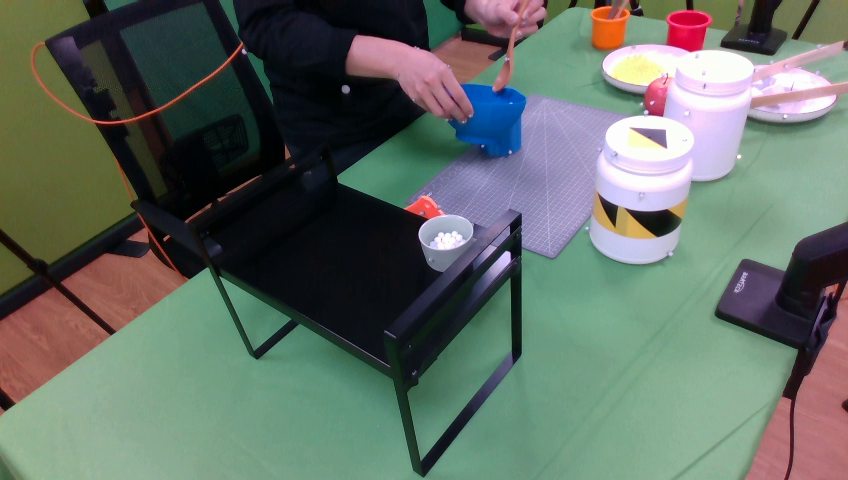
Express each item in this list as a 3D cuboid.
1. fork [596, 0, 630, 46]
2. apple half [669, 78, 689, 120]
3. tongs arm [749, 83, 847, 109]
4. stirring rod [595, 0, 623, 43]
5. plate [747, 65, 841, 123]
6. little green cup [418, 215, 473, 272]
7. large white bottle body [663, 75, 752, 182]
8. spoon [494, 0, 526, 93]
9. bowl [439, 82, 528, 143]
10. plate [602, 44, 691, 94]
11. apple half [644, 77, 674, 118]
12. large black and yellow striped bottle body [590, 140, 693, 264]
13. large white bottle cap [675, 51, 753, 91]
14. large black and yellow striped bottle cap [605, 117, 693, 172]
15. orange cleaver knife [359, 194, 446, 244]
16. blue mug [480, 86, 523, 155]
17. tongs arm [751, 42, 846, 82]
[{"bbox_3d":[0.481,-0.556,1.452,0.028,0.019,0.207,40,103,40],"label":"fork"},{"bbox_3d":[0.498,-0.273,1.180,0.032,0.082,0.081,7,42,25],"label":"apple half"},{"bbox_3d":[0.734,-0.280,1.133,0.388,0.028,0.028,-9,47,-5],"label":"tongs arm"},{"bbox_3d":[0.460,-0.556,1.460,0.014,0.006,0.176,30,93,23],"label":"stirring rod"},{"bbox_3d":[0.694,-0.282,1.189,0.207,0.039,0.206,-4,40,4],"label":"plate"},{"bbox_3d":[0.026,0.005,0.678,0.061,0.039,0.061,-4,40,4],"label":"little green cup"},{"bbox_3d":[0.472,-0.207,1.022,0.130,0.185,0.130,-4,41,4],"label":"large white bottle body"},{"bbox_3d":[0.152,-0.346,1.027,0.022,0.194,0.041,5,19,-19],"label":"spoon"},{"bbox_3d":[0.095,-0.213,1.026,0.151,0.077,0.151,5,26,-2],"label":"bowl"},{"bbox_3d":[0.494,-0.367,1.317,0.209,0.038,0.208,-4,40,4],"label":"plate"},{"bbox_3d":[0.463,-0.279,1.194,0.053,0.075,0.081,8,46,24],"label":"apple half"},{"bbox_3d":[0.317,-0.071,0.889,0.131,0.185,0.130,-4,41,4],"label":"large black and yellow striped bottle body"},{"bbox_3d":[0.463,-0.271,0.967,0.115,0.018,0.114,-3,40,3],"label":"large white bottle cap"},{"bbox_3d":[0.309,-0.134,0.833,0.115,0.019,0.114,-5,40,5],"label":"large black and yellow striped bottle cap"},{"bbox_3d":[-0.032,-0.026,0.965,0.210,0.077,0.012,-10,29,51],"label":"orange cleaver knife"},{"bbox_3d":[0.135,-0.235,1.163,0.082,0.106,0.115,-36,48,-28],"label":"blue mug"},{"bbox_3d":[0.708,-0.331,1.193,0.386,0.026,0.050,-18,45,-16],"label":"tongs arm"}]
